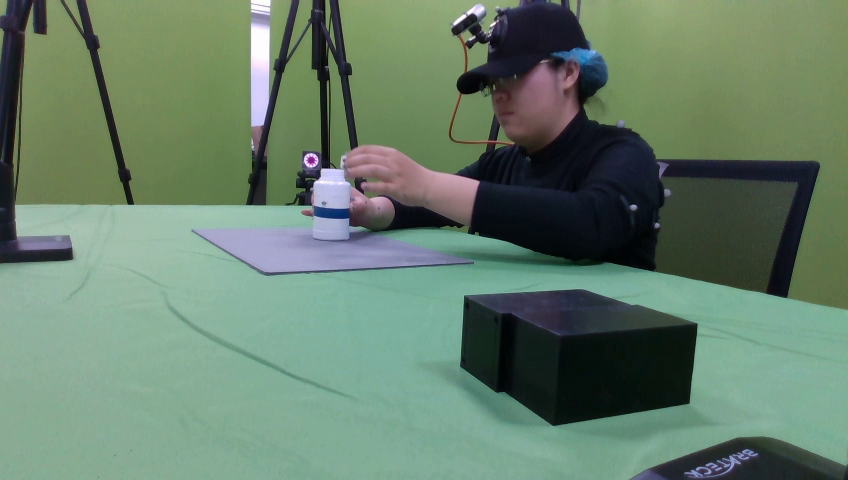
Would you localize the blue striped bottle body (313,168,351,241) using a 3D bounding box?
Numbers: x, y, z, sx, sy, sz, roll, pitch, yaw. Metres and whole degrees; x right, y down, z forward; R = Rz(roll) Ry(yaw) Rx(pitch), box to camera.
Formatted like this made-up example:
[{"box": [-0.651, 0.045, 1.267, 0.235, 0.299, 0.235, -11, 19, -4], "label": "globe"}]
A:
[{"box": [-0.156, -0.062, 1.025, 0.063, 0.120, 0.063, 2, 7, 0], "label": "blue striped bottle body"}]

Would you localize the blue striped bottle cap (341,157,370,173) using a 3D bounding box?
[{"box": [-0.105, -0.115, 0.928, 0.044, 0.020, 0.044, -1, -3, 0], "label": "blue striped bottle cap"}]
